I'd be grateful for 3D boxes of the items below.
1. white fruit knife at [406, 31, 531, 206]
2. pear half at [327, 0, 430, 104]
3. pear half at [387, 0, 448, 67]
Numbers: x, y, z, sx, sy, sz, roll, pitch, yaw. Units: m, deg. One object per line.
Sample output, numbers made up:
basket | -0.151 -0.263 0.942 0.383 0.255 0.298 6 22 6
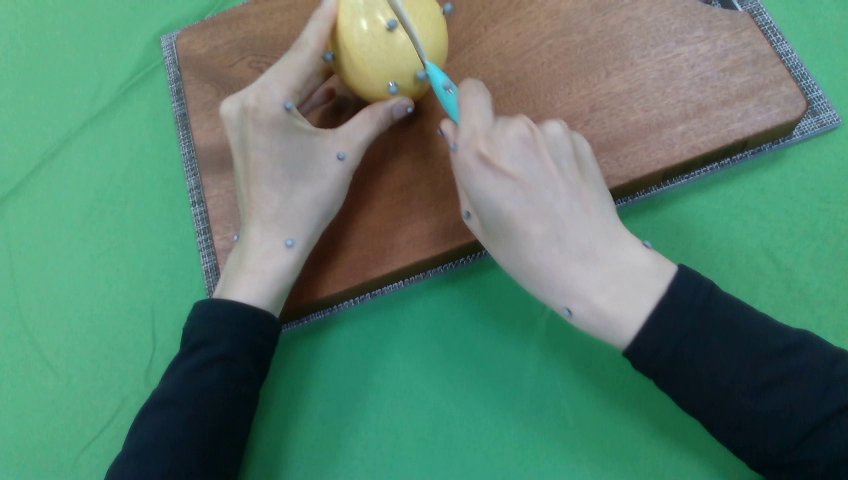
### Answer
white fruit knife | 0.008 -0.104 0.390 0.016 0.027 0.205 -31 65 -3
pear half | -0.038 -0.131 0.393 0.056 0.111 0.075 -37 64 -2
pear half | -0.004 -0.148 0.403 0.031 0.089 0.070 -34 63 -5
